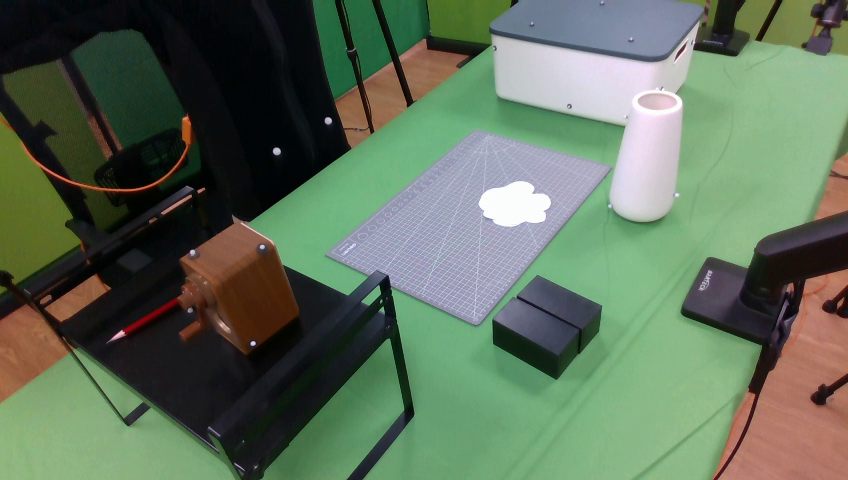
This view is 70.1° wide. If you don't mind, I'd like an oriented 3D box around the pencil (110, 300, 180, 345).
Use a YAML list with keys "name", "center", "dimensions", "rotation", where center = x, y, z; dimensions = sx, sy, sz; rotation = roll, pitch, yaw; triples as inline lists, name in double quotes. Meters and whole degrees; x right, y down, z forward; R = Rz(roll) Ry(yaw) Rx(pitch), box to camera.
- name: "pencil"
  center: [-0.257, 0.059, 0.675]
  dimensions: [0.195, 0.012, 0.012]
  rotation: [-36, 48, -27]

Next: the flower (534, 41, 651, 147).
- name: "flower"
  center: [0.364, -0.319, 1.319]
  dimensions: [0.038, 0.044, 0.359]
  rotation: [-4, 48, -50]

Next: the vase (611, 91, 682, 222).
- name: "vase"
  center: [0.348, -0.125, 0.935]
  dimensions: [0.098, 0.201, 0.097]
  rotation: [-3, 40, 3]

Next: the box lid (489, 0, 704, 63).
- name: "box lid"
  center: [0.345, -0.441, 1.217]
  dimensions: [0.369, 0.015, 0.264]
  rotation: [21, 49, 29]

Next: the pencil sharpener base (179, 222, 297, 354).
- name: "pencil sharpener base"
  center: [-0.182, 0.050, 0.598]
  dimensions: [0.061, 0.107, 0.077]
  rotation: [27, 51, 33]

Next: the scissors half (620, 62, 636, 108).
- name: "scissors half"
  center: [0.434, -0.340, 1.298]
  dimensions: [0.013, 0.040, 0.174]
  rotation: [25, 42, -11]

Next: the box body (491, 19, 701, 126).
- name: "box body"
  center: [0.352, -0.384, 1.268]
  dimensions: [0.361, 0.161, 0.255]
  rotation: [21, 48, 29]

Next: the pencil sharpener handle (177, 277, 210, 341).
- name: "pencil sharpener handle"
  center: [-0.220, 0.067, 0.564]
  dimensions: [0.036, 0.068, 0.031]
  rotation: [34, 55, 24]

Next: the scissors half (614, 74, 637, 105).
- name: "scissors half"
  center: [0.427, -0.330, 1.306]
  dimensions: [0.013, 0.040, 0.174]
  rotation: [31, 31, -14]
